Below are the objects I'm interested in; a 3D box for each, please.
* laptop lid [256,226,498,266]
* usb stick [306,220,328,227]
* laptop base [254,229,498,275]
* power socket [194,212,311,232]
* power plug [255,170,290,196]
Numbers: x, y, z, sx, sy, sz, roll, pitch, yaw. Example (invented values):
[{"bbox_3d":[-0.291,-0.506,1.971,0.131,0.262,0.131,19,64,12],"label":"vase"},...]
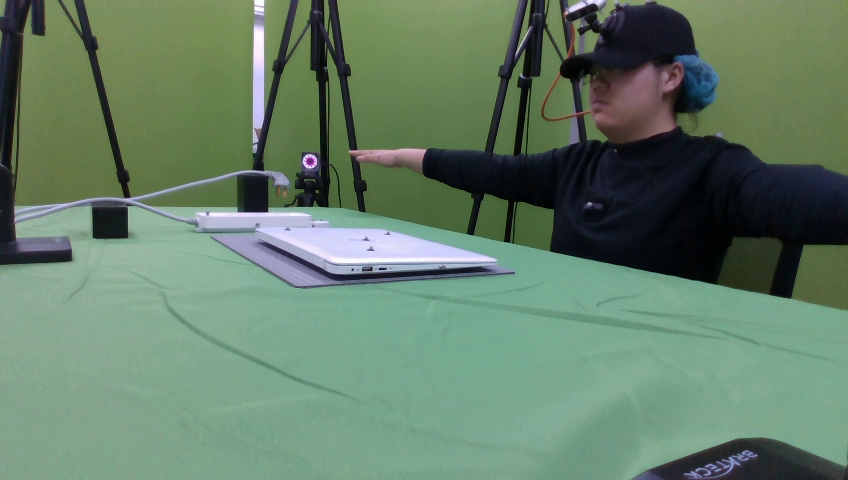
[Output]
[{"bbox_3d":[-0.085,0.004,0.878,0.243,0.013,0.355,1,7,-29],"label":"laptop lid"},{"bbox_3d":[-0.194,-0.020,1.075,0.021,0.027,0.059,5,10,22],"label":"usb stick"},{"bbox_3d":[-0.088,0.016,0.878,0.237,0.023,0.352,2,6,-31],"label":"laptop base"},{"bbox_3d":[-0.322,-0.037,1.153,0.228,0.032,0.072,-2,8,-34],"label":"power socket"},{"bbox_3d":[-0.323,-0.120,1.285,0.073,0.052,0.035,2,-13,-13],"label":"power plug"}]
